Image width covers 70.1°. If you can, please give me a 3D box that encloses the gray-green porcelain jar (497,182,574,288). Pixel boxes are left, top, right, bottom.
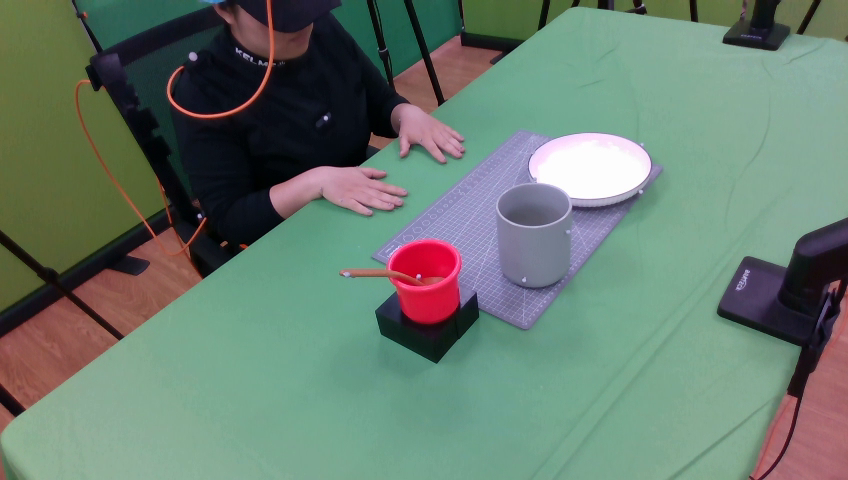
[{"bbox_3d":[0.160,-0.003,0.869,0.106,0.127,0.105,-5,40,5],"label":"gray-green porcelain jar"}]

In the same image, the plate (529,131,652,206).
[{"bbox_3d":[0.287,-0.122,1.056,0.207,0.039,0.206,-5,40,5],"label":"plate"}]

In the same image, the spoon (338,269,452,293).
[{"bbox_3d":[-0.033,0.047,0.758,0.041,0.021,0.195,30,10,41],"label":"spoon"}]
